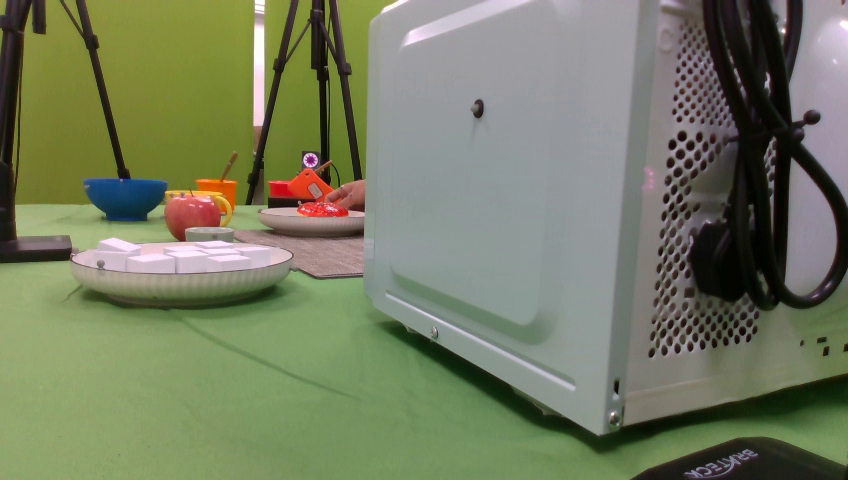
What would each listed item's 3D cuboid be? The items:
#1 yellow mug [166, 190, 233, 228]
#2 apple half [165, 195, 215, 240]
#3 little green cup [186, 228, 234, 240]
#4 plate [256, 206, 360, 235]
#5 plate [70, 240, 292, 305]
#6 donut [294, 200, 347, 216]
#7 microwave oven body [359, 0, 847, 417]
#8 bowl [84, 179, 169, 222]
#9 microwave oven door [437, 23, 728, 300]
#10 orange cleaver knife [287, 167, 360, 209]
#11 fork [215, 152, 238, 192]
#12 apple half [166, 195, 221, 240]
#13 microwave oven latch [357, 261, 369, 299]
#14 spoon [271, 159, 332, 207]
[{"bbox_3d":[-0.415,-0.057,1.131,0.130,0.064,0.100,6,8,16],"label":"yellow mug"},{"bbox_3d":[-0.377,-0.038,0.964,0.082,0.081,0.032,-4,15,-39],"label":"apple half"},{"bbox_3d":[-0.284,0.005,0.805,0.061,0.038,0.061,2,8,0],"label":"little green cup"},{"bbox_3d":[-0.202,-0.037,1.119,0.209,0.038,0.209,2,8,0],"label":"plate"},{"bbox_3d":[-0.241,0.031,0.618,0.208,0.039,0.207,2,7,0],"label":"plate"},{"bbox_3d":[-0.193,-0.049,1.133,0.099,0.048,0.099,4,8,0],"label":"donut"},{"bbox_3d":[0.211,-0.047,0.474,0.444,0.260,0.324,-1,7,-28],"label":"microwave oven body"},{"bbox_3d":[-0.584,-0.078,1.193,0.151,0.077,0.151,3,8,0],"label":"bowl"},{"bbox_3d":[0.181,-0.072,0.621,0.358,0.243,0.039,-2,8,-29],"label":"microwave oven door"},{"bbox_3d":[-0.209,-0.089,1.383,0.212,0.077,0.012,31,4,-15],"label":"orange cleaver knife"},{"bbox_3d":[-0.454,-0.132,1.366,0.028,0.018,0.207,-3,-34,-38],"label":"fork"},{"bbox_3d":[-0.351,-0.031,0.935,0.081,0.074,0.053,1,11,-40],"label":"apple half"},{"bbox_3d":[-0.019,0.033,0.529,0.079,0.029,0.030,0,7,-24],"label":"microwave oven latch"},{"bbox_3d":[-0.307,-0.142,1.513,0.193,0.021,0.041,-41,4,8],"label":"spoon"}]
